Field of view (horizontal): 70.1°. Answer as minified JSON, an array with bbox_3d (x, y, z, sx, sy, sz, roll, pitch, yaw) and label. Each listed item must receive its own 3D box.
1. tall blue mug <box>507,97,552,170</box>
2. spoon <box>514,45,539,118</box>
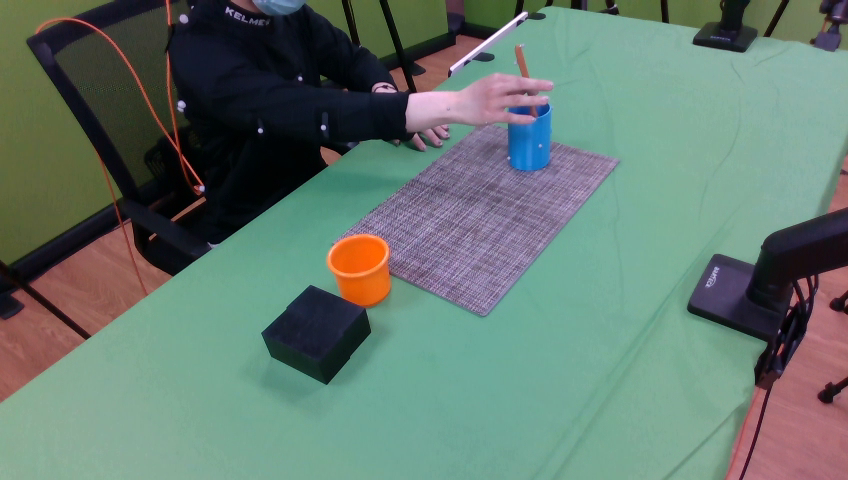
[{"bbox_3d":[0.179,-0.198,1.101,0.078,0.108,0.106,-36,49,-28],"label":"tall blue mug"},{"bbox_3d":[0.183,-0.248,1.048,0.041,0.195,0.022,10,45,39],"label":"spoon"}]
